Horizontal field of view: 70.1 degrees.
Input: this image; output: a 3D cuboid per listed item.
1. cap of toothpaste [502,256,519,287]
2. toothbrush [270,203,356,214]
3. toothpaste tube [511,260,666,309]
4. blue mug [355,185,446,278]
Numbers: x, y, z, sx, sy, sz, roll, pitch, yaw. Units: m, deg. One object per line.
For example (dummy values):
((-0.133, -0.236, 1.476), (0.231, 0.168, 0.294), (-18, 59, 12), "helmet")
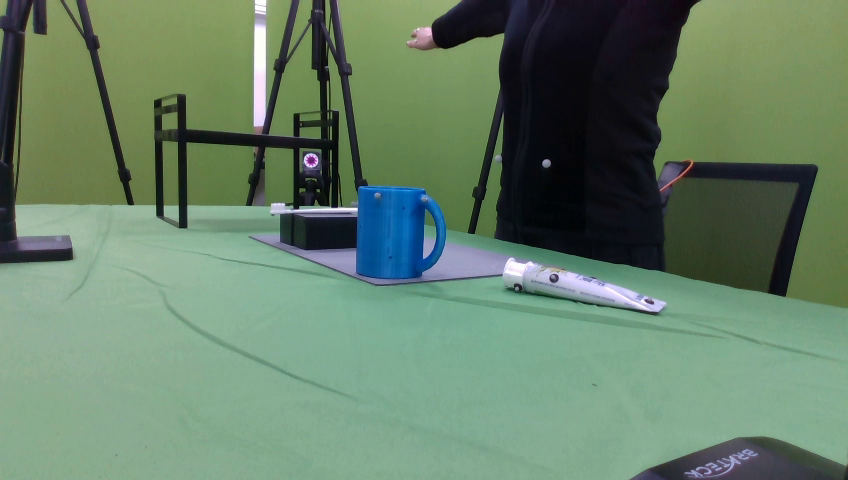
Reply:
((0.100, 0.036, 0.681), (0.011, 0.037, 0.037), (10, 10, 28), "cap of toothpaste")
((-0.156, -0.050, 0.958), (0.183, 0.016, 0.014), (-2, 2, -33), "toothbrush")
((0.167, 0.049, 0.642), (0.164, 0.034, 0.055), (10, 15, 28), "toothpaste tube")
((-0.027, -0.011, 0.723), (0.116, 0.106, 0.083), (7, 8, 27), "blue mug")
